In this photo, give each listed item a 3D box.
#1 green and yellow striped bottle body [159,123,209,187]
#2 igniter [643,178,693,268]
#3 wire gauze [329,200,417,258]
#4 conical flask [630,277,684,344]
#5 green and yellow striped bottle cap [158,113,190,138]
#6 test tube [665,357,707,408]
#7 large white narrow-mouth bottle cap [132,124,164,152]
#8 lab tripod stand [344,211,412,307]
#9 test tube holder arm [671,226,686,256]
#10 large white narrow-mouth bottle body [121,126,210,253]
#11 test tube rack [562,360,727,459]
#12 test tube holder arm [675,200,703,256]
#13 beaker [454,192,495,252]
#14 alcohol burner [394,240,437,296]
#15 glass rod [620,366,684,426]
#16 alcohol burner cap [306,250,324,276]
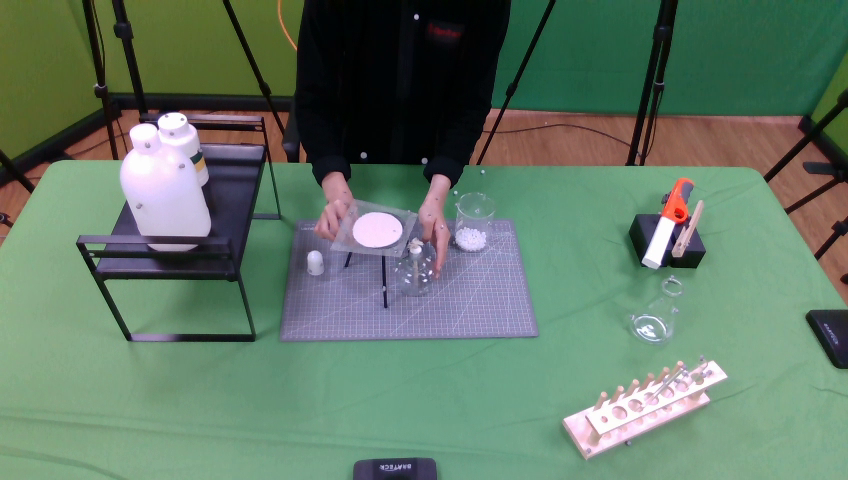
[{"bbox_3d":[-0.395,-0.145,0.989,0.063,0.120,0.063,2,46,-2],"label":"green and yellow striped bottle body"},{"bbox_3d":[0.488,-0.042,1.205,0.057,0.025,0.276,30,51,11],"label":"igniter"},{"bbox_3d":[-0.085,-0.019,1.034,0.121,0.011,0.124,11,46,8],"label":"wire gauze"},{"bbox_3d":[0.408,0.117,1.045,0.075,0.122,0.075,2,46,-2],"label":"conical flask"},{"bbox_3d":[-0.393,-0.180,0.951,0.045,0.020,0.045,2,44,-2],"label":"green and yellow striped bottle cap"},{"bbox_3d":[0.387,0.216,0.905,0.017,0.151,0.017,1,52,-1],"label":"test tube"},{"bbox_3d":[-0.371,-0.137,0.813,0.038,0.024,0.037,3,46,-3],"label":"large white narrow-mouth bottle cap"},{"bbox_3d":[-0.081,0.024,1.086,0.148,0.132,0.147,1,47,-1],"label":"lab tripod stand"},{"bbox_3d":[0.494,0.001,1.167,0.010,0.015,0.087,1,36,42],"label":"test tube holder arm"},{"bbox_3d":[-0.378,-0.077,0.875,0.102,0.195,0.101,3,46,-3],"label":"large white narrow-mouth bottle body"},{"bbox_3d":[0.341,0.247,0.940,0.243,0.085,0.066,-16,49,-18],"label":"test tube rack"},{"bbox_3d":[0.523,-0.025,1.190,0.013,0.015,0.178,1,36,41],"label":"test tube holder arm"},{"bbox_3d":[0.097,-0.034,1.180,0.074,0.101,0.084,23,48,17],"label":"beaker"},{"bbox_3d":[-0.015,0.045,1.086,0.078,0.120,0.077,1,47,0],"label":"alcohol burner"},{"bbox_3d":[0.322,0.227,0.866,0.008,0.200,0.008,5,51,-7],"label":"glass rod"},{"bbox_3d":[-0.204,0.041,1.125,0.034,0.048,0.033,2,45,-2],"label":"alcohol burner cap"}]
